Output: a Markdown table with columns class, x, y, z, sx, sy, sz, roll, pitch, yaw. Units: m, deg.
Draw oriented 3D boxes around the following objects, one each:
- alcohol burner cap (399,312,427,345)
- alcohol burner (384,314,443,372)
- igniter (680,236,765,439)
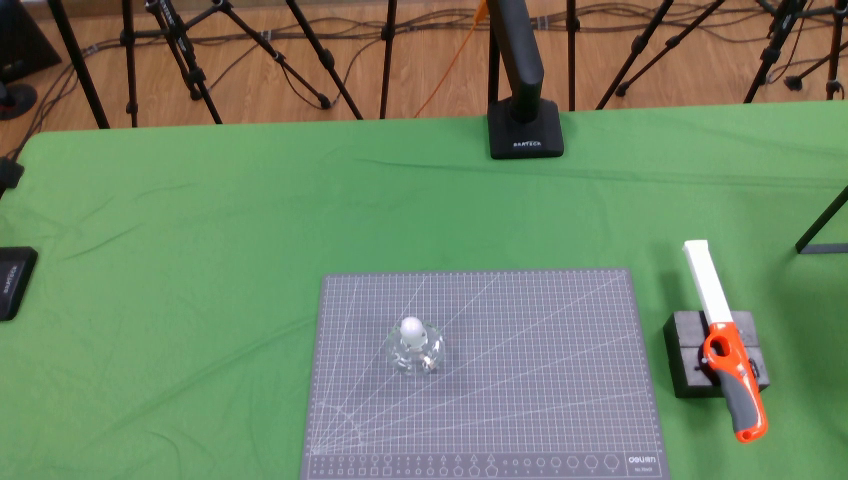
| class | x | y | z | sx | sy | sz | roll | pitch | yaw |
| --- | --- | --- | --- | --- | --- | --- | --- | --- | --- |
| alcohol burner cap | -0.016 | 0.107 | 0.744 | 0.034 | 0.048 | 0.033 | -3 | 63 | 7 |
| alcohol burner | -0.014 | 0.125 | 0.775 | 0.078 | 0.120 | 0.077 | 0 | 58 | 1 |
| igniter | 0.373 | 0.112 | 0.764 | 0.057 | 0.025 | 0.274 | -2 | 56 | 2 |
